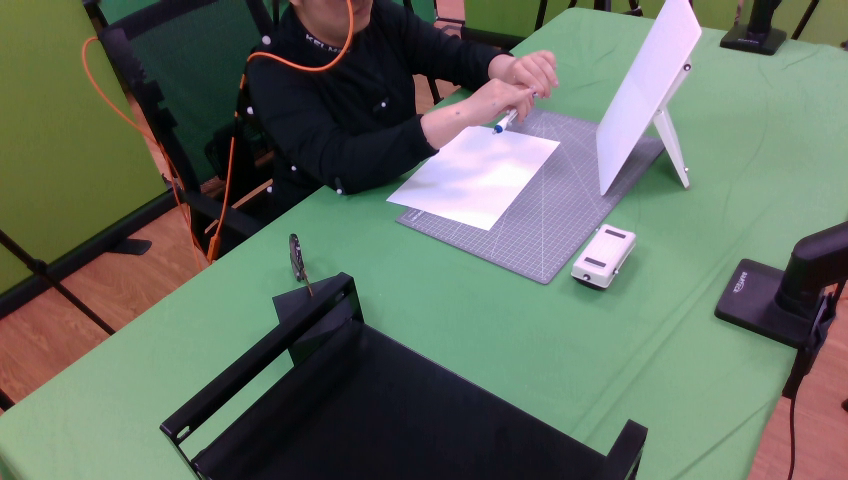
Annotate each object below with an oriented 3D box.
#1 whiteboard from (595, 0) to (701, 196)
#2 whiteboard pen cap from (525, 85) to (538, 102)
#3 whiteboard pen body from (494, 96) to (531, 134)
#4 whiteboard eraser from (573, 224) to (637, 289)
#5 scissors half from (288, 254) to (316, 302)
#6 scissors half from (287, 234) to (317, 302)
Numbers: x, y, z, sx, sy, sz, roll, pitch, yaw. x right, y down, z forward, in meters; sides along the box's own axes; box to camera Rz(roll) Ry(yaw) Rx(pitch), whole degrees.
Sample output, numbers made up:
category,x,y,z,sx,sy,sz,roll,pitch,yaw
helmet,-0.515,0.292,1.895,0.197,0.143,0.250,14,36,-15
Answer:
category,x,y,z,sx,sy,sz,roll,pitch,yaw
whiteboard,0.420,-0.227,1.010,0.144,0.305,0.216,18,42,-2
whiteboard pen cap,0.191,-0.261,1.087,0.018,0.018,0.033,17,61,26
whiteboard pen body,0.160,-0.224,1.052,0.017,0.017,0.141,18,47,28
whiteboard eraser,0.267,0.025,0.891,0.055,0.042,0.113,19,47,31
scissors half,-0.178,0.058,0.894,0.013,0.040,0.174,-15,20,-18
scissors half,-0.178,0.040,0.885,0.013,0.040,0.173,-11,36,-21
